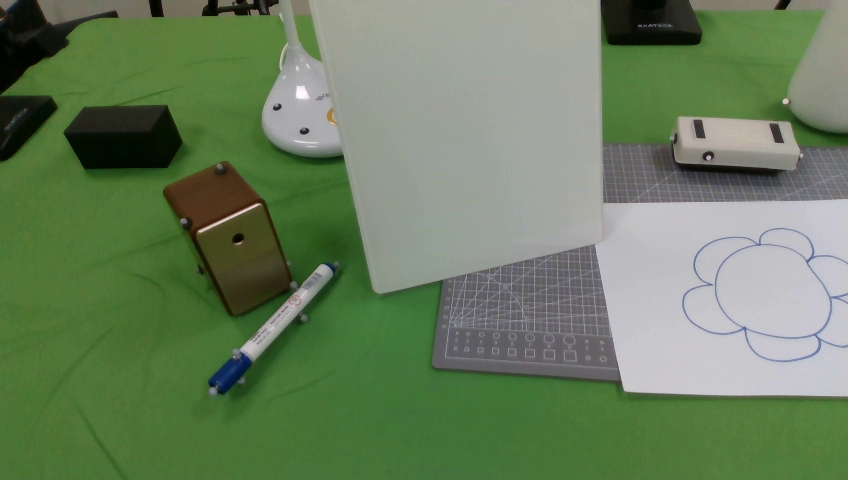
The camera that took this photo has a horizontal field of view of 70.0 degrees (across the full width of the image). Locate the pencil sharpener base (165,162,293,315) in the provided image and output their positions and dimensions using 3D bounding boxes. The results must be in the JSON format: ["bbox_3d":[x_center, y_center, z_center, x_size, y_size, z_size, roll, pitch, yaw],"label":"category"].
[{"bbox_3d":[-0.166,-0.001,0.520,0.061,0.108,0.076,-30,50,-22],"label":"pencil sharpener base"}]

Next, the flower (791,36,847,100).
[{"bbox_3d":[0.445,-0.253,0.530,0.044,0.364,0.038,-16,63,-19],"label":"flower"}]

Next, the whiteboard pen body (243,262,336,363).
[{"bbox_3d":[-0.118,0.066,0.507,0.017,0.017,0.140,18,47,22],"label":"whiteboard pen body"}]

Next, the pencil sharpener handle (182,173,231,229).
[{"bbox_3d":[-0.195,-0.038,0.542,0.036,0.068,0.030,-35,51,-16],"label":"pencil sharpener handle"}]

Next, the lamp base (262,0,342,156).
[{"bbox_3d":[-0.125,-0.211,0.671,0.160,0.182,0.177,-34,50,-25],"label":"lamp base"}]

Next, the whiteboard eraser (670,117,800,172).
[{"bbox_3d":[0.309,-0.095,0.609,0.112,0.042,0.055,4,44,10],"label":"whiteboard eraser"}]

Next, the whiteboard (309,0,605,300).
[{"bbox_3d":[0.027,-0.135,0.534,0.217,0.308,0.142,-12,27,-6],"label":"whiteboard"}]

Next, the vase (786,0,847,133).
[{"bbox_3d":[0.442,-0.207,0.601,0.098,0.202,0.097,-2,46,2],"label":"vase"}]

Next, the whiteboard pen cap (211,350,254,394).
[{"bbox_3d":[-0.147,0.101,0.468,0.018,0.018,0.033,21,48,24],"label":"whiteboard pen cap"}]
